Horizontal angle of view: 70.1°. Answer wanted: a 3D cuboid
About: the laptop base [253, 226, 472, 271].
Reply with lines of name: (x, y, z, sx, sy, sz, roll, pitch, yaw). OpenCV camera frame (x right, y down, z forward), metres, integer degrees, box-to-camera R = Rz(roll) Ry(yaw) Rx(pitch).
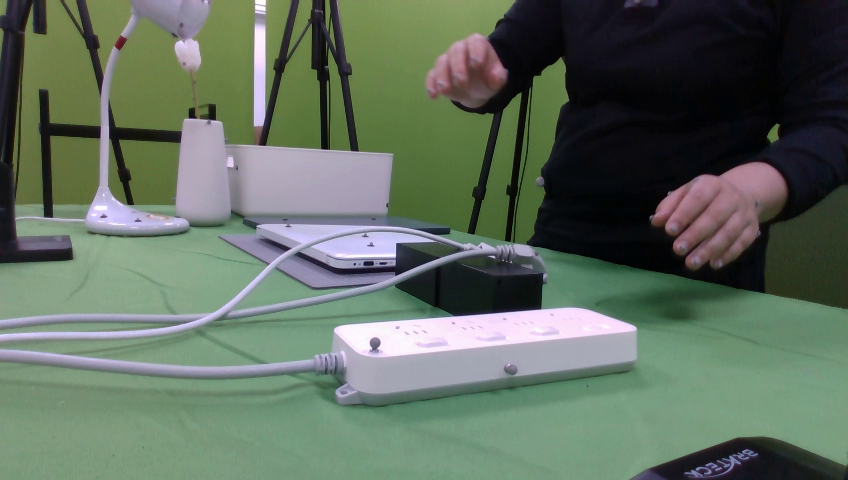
laptop base: (-0.096, 0.011, 0.912, 0.237, 0.023, 0.352, 2, 6, -32)

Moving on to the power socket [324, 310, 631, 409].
power socket: (0.042, 0.075, 0.410, 0.228, 0.032, 0.072, -1, 7, -25)

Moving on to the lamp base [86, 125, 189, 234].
lamp base: (-0.497, -0.105, 1.027, 0.179, 0.180, 0.160, 1, 7, 3)

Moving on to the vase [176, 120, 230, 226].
vase: (-0.425, -0.128, 1.159, 0.098, 0.200, 0.098, 2, 9, 0)

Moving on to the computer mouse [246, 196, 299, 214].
computer mouse: (-0.355, -0.083, 1.418, 0.117, 0.041, 0.063, 0, 10, 7)

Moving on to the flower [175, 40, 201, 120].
flower: (-0.430, -0.211, 1.165, 0.044, 0.361, 0.038, -10, -5, -22)

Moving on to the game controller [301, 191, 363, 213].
game controller: (-0.240, -0.098, 1.550, 0.155, 0.051, 0.097, 3, 9, 5)

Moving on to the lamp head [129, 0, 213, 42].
lamp head: (-0.423, -0.394, 0.980, 0.123, 0.112, 0.112, 20, 7, -3)

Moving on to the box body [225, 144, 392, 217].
box body: (-0.289, -0.143, 1.475, 0.366, 0.160, 0.253, -1, 9, -29)

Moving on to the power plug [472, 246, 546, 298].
power plug: (0.081, 0.030, 0.584, 0.072, 0.052, 0.035, 11, 29, 9)

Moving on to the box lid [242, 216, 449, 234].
box lid: (-0.162, -0.030, 1.233, 0.373, 0.015, 0.262, -1, 8, -32)

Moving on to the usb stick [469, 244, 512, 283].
usb stick: (0.080, 0.029, 0.673, 0.059, 0.021, 0.027, 28, 24, -29)

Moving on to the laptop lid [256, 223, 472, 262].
laptop lid: (-0.092, 0.000, 0.912, 0.243, 0.013, 0.355, 1, 7, -30)
